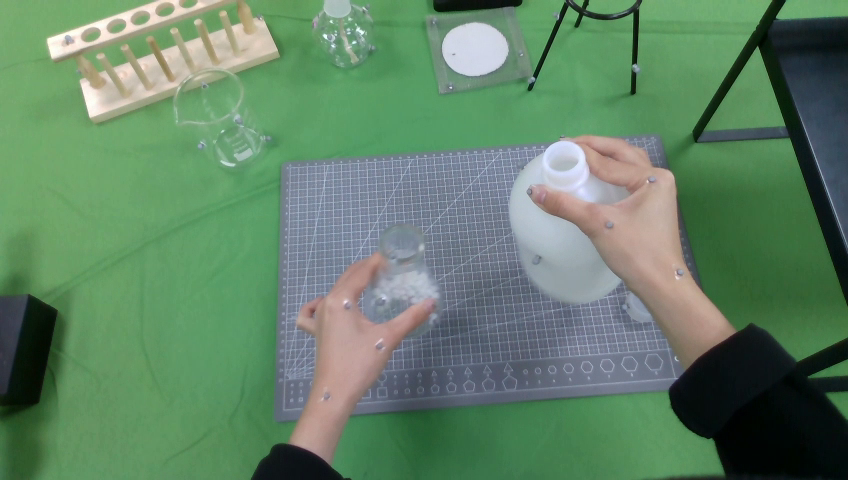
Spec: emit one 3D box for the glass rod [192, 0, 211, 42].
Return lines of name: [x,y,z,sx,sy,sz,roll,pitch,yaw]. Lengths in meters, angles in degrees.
glass rod: [-0.271,-0.301,0.693,0.008,0.201,0.008,2,64,-3]

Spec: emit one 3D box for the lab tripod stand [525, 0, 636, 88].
lab tripod stand: [0.193,-0.251,0.707,0.148,0.132,0.147,0,65,0]

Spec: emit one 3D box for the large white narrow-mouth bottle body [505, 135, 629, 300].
large white narrow-mouth bottle body: [0.122,-0.023,0.517,0.101,0.196,0.101,-6,64,14]

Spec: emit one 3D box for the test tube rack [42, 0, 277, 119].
test tube rack: [-0.315,-0.239,0.740,0.242,0.086,0.066,-23,68,-9]

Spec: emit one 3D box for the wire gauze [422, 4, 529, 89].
wire gauze: [0.065,-0.254,0.780,0.121,0.011,0.124,-9,66,-4]

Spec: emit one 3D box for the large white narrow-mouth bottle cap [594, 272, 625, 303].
large white narrow-mouth bottle cap: [0.192,0.047,0.639,0.038,0.024,0.037,-1,66,3]

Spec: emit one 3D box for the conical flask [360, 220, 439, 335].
conical flask: [-0.022,0.028,0.526,0.075,0.123,0.074,1,61,-1]

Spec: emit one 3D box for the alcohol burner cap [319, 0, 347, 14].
alcohol burner cap: [-0.106,-0.291,0.703,0.034,0.048,0.033,3,64,-7]

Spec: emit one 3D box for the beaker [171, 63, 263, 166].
beaker: [-0.231,-0.135,0.685,0.073,0.101,0.084,40,73,18]

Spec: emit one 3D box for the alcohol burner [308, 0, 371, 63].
alcohol burner: [-0.105,-0.274,0.736,0.078,0.120,0.077,0,64,1]
